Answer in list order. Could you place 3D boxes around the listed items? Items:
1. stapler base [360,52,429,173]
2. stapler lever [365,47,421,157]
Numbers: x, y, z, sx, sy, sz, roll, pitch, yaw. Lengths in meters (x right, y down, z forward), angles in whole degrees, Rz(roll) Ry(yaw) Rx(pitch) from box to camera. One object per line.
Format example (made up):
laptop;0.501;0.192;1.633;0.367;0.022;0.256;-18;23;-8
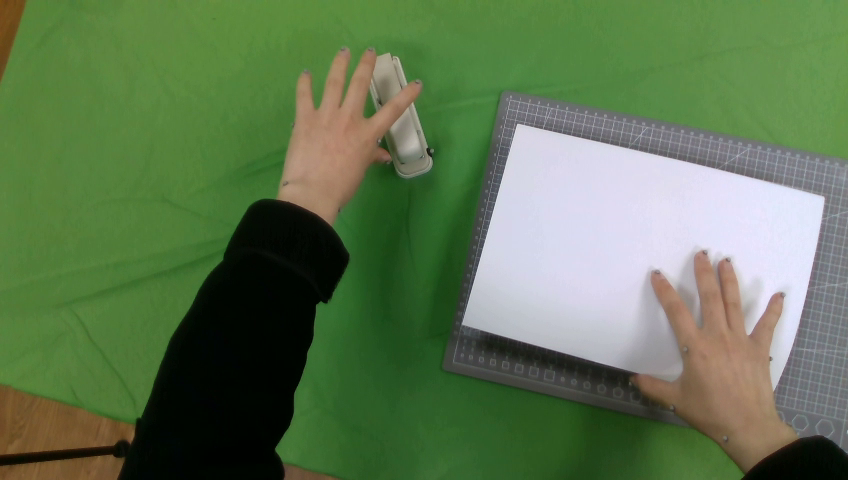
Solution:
stapler base;-0.030;-0.136;0.629;0.041;0.024;0.130;-17;84;-5
stapler lever;-0.031;-0.140;0.606;0.027;0.040;0.118;-17;85;-4
